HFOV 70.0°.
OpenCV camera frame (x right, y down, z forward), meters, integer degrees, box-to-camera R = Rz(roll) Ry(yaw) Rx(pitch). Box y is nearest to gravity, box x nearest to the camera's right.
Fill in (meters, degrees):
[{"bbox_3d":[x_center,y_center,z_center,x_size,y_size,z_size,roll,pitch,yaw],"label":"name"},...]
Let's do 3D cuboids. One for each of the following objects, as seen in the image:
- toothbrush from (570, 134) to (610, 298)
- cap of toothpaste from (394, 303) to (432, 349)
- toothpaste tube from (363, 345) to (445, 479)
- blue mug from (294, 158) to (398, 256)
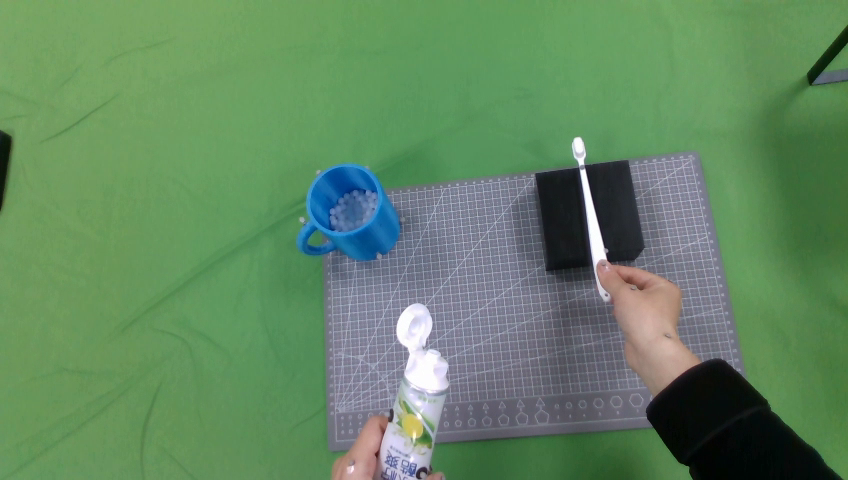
[{"bbox_3d":[0.174,-0.029,0.634,0.014,0.017,0.180,-7,74,6],"label":"toothbrush"},{"bbox_3d":[-0.007,0.066,0.461,0.011,0.038,0.037,15,75,47],"label":"cap of toothpaste"},{"bbox_3d":[-0.017,0.156,0.467,0.054,0.034,0.165,19,103,23],"label":"toothpaste tube"},{"bbox_3d":[-0.092,-0.025,0.678,0.116,0.106,0.082,-33,73,-2],"label":"blue mug"}]
